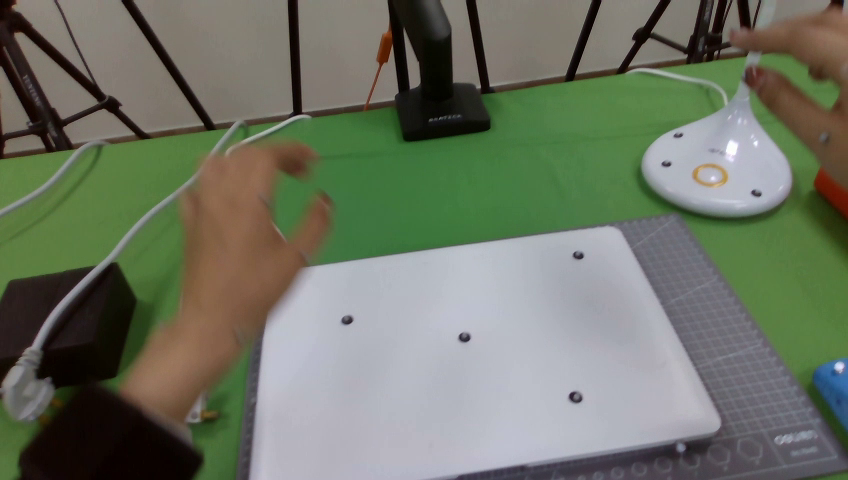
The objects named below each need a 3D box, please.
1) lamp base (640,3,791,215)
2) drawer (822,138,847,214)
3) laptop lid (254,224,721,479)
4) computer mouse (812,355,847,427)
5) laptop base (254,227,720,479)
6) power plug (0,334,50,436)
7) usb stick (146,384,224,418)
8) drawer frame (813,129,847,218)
[{"bbox_3d":[0.331,-0.147,0.650,0.159,0.182,0.178,15,43,22],"label":"lamp base"},{"bbox_3d":[0.536,-0.029,0.573,0.195,0.074,0.209,-9,41,-3],"label":"drawer"},{"bbox_3d":[0.037,0.085,0.521,0.357,0.013,0.239,-7,44,-2],"label":"laptop lid"},{"bbox_3d":[0.348,0.128,0.446,0.063,0.041,0.116,-8,37,-1],"label":"computer mouse"},{"bbox_3d":[0.037,0.093,0.531,0.355,0.023,0.233,-8,45,-3],"label":"laptop base"},{"bbox_3d":[-0.334,0.117,0.482,0.035,0.073,0.052,-18,29,35],"label":"power plug"},{"bbox_3d":[-0.194,0.132,0.497,0.059,0.021,0.027,6,78,-6],"label":"usb stick"},{"bbox_3d":[0.535,-0.032,0.574,0.202,0.083,0.211,-10,41,-4],"label":"drawer frame"}]
